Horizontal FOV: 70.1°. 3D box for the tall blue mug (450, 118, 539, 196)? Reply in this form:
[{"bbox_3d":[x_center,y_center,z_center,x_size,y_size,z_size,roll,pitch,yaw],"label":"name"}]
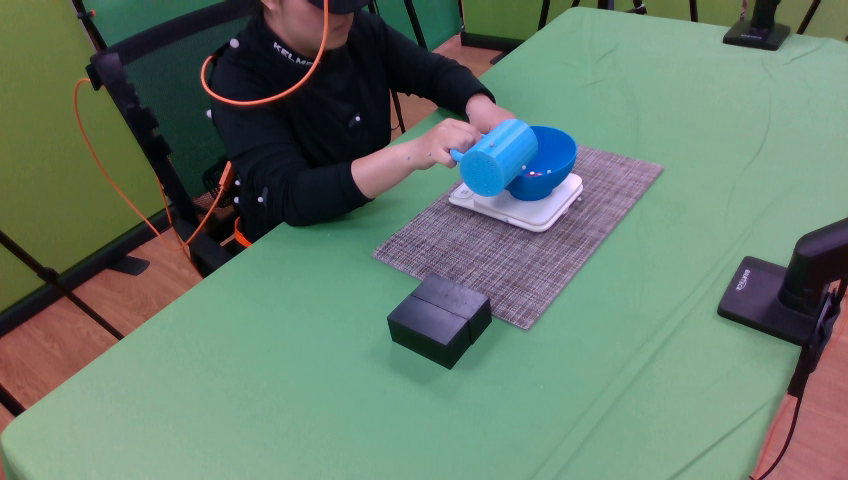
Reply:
[{"bbox_3d":[0.100,-0.133,0.894,0.107,0.077,0.108,41,50,5],"label":"tall blue mug"}]

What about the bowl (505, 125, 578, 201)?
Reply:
[{"bbox_3d":[0.176,-0.117,0.991,0.151,0.077,0.150,-6,41,5],"label":"bowl"}]

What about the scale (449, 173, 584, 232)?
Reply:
[{"bbox_3d":[0.156,-0.085,1.040,0.199,0.032,0.149,22,49,33],"label":"scale"}]
